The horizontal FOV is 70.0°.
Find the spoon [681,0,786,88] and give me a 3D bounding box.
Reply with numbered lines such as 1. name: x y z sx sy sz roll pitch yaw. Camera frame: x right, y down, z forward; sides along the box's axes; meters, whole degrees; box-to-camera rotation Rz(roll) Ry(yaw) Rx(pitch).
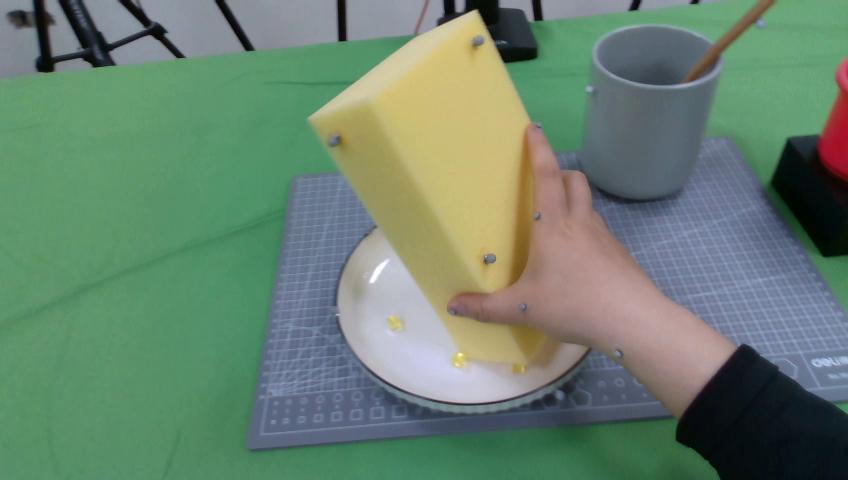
1. spoon: 0.226 -0.129 0.510 0.022 0.194 0.041 26 42 -7

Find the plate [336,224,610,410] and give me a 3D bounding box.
1. plate: 0.037 0.043 0.476 0.207 0.039 0.205 -3 46 3

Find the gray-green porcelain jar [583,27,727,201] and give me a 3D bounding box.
1. gray-green porcelain jar: 0.200 -0.108 0.544 0.106 0.128 0.105 -3 46 4

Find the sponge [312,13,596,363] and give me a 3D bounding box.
1. sponge: 0.033 -0.029 0.416 0.060 0.208 0.118 -4 37 46
